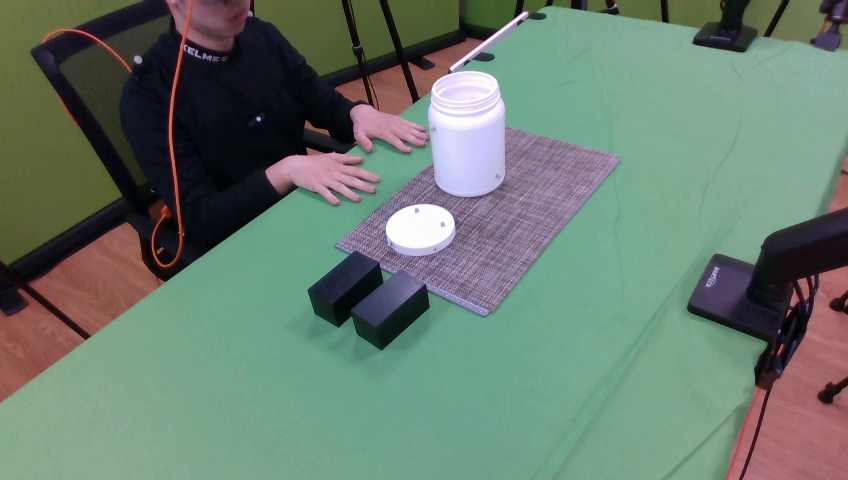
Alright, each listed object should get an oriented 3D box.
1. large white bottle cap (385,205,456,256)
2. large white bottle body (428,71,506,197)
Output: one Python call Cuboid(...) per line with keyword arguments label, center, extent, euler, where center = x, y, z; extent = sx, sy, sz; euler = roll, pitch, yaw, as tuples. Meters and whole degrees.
Cuboid(label="large white bottle cap", center=(-0.006, -0.018, 0.987), extent=(0.115, 0.018, 0.114), euler=(-4, 40, 4))
Cuboid(label="large white bottle body", center=(0.075, -0.181, 1.038), extent=(0.130, 0.185, 0.130), euler=(-4, 41, 4))
